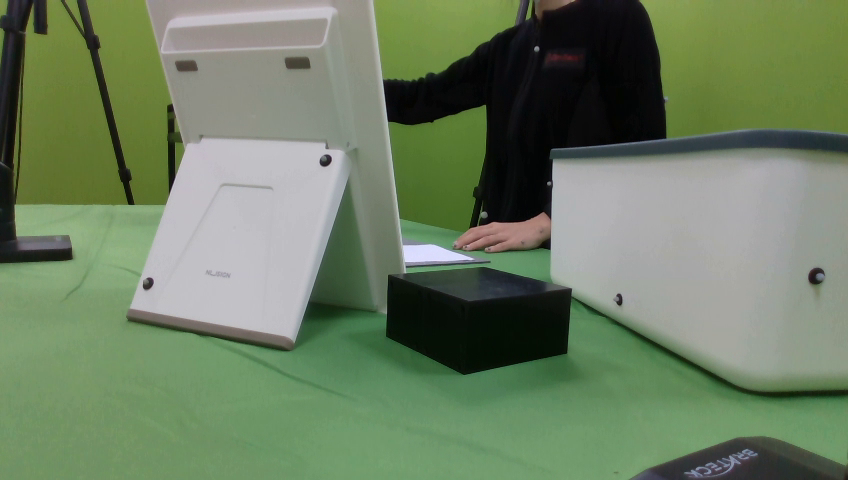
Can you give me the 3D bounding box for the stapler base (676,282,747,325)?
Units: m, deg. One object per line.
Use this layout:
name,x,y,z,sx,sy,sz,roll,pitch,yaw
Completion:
stapler base,0.283,0.057,0.584,0.041,0.024,0.131,32,19,33

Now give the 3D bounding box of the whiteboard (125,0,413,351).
whiteboard,-0.151,-0.050,0.471,0.216,0.305,0.144,6,27,24

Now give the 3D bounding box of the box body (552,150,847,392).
box body,0.290,0.002,0.549,0.255,0.160,0.363,2,7,-10

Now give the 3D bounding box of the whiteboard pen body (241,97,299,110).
whiteboard pen body,-0.335,-0.296,1.317,0.140,0.017,0.017,11,10,16

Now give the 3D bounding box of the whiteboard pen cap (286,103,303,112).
whiteboard pen cap,-0.279,-0.286,1.300,0.033,0.018,0.018,12,10,16

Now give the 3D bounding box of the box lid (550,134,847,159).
box lid,0.294,-0.071,0.538,0.264,0.015,0.370,2,6,-10

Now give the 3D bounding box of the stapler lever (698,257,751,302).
stapler lever,0.291,0.035,0.580,0.026,0.040,0.119,32,21,33

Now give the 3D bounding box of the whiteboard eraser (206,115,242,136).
whiteboard eraser,-0.438,-0.249,1.320,0.056,0.042,0.112,-3,9,-30

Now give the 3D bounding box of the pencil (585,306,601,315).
pencil,0.250,0.055,0.656,0.195,0.012,0.012,-12,13,-27
